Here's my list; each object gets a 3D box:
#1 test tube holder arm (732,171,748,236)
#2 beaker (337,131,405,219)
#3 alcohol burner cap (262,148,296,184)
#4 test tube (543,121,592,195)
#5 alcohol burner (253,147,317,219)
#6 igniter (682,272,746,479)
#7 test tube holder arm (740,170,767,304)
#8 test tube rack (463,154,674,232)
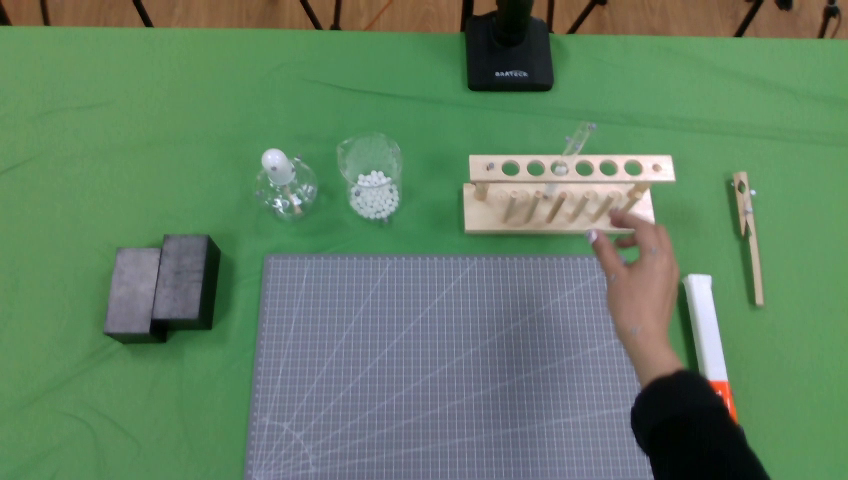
[{"bbox_3d":[0.414,-0.047,0.790,0.010,0.015,0.087,-11,66,30],"label":"test tube holder arm"},{"bbox_3d":[-0.065,-0.076,0.737,0.084,0.101,0.073,27,70,9],"label":"beaker"},{"bbox_3d":[-0.167,-0.087,0.690,0.034,0.048,0.033,0,74,1],"label":"alcohol burner cap"},{"bbox_3d":[0.164,-0.091,0.707,0.017,0.151,0.017,2,67,-4],"label":"test tube"},{"bbox_3d":[-0.169,-0.073,0.723,0.078,0.120,0.077,1,67,-1],"label":"alcohol burner"},{"bbox_3d":[0.333,0.170,0.697,0.057,0.025,0.274,5,69,-11],"label":"igniter"},{"bbox_3d":[0.418,-0.006,0.771,0.013,0.015,0.177,-12,66,30],"label":"test tube holder arm"},{"bbox_3d":[0.173,-0.056,0.747,0.242,0.086,0.066,0,69,-2],"label":"test tube rack"}]
